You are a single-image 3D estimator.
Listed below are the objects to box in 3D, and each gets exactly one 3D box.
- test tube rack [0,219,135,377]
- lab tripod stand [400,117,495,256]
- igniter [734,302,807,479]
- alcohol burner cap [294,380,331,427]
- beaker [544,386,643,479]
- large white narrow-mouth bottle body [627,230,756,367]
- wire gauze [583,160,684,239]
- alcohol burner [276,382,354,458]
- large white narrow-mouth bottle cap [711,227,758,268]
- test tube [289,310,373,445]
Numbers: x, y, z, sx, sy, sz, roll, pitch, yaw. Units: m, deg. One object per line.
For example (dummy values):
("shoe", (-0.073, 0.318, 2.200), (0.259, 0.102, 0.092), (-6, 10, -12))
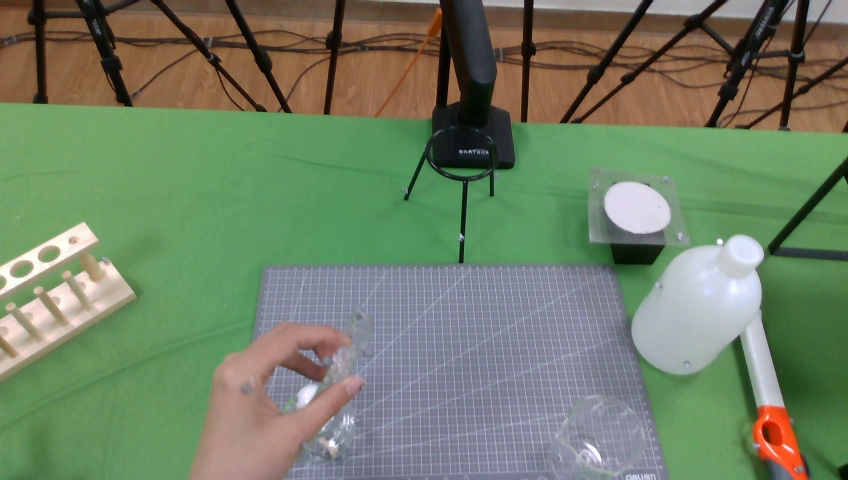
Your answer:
("test tube rack", (-0.452, 0.085, 0.650), (0.242, 0.086, 0.066), (-37, 65, -25))
("lab tripod stand", (0.039, -0.075, 0.768), (0.148, 0.132, 0.147), (3, 56, -4))
("igniter", (0.385, 0.190, 0.677), (0.057, 0.025, 0.274), (12, 54, -9))
("alcohol burner cap", (-0.106, 0.151, 0.567), (0.034, 0.048, 0.033), (1, 50, -1))
("beaker", (0.161, 0.200, 0.605), (0.084, 0.101, 0.073), (-3, 55, -5))
("large white narrow-mouth bottle body", (0.297, 0.057, 0.659), (0.102, 0.196, 0.101), (2, 55, -2))
("wire gauze", (0.268, -0.052, 0.786), (0.121, 0.011, 0.124), (6, 55, 0))
("alcohol burner", (-0.108, 0.171, 0.597), (0.078, 0.120, 0.077), (3, 54, -4))
("large white narrow-mouth bottle cap", (0.301, 0.007, 0.590), (0.038, 0.024, 0.037), (2, 55, -2))
("test tube", (-0.067, 0.099, 0.411), (0.017, 0.151, 0.017), (18, 39, -15))
